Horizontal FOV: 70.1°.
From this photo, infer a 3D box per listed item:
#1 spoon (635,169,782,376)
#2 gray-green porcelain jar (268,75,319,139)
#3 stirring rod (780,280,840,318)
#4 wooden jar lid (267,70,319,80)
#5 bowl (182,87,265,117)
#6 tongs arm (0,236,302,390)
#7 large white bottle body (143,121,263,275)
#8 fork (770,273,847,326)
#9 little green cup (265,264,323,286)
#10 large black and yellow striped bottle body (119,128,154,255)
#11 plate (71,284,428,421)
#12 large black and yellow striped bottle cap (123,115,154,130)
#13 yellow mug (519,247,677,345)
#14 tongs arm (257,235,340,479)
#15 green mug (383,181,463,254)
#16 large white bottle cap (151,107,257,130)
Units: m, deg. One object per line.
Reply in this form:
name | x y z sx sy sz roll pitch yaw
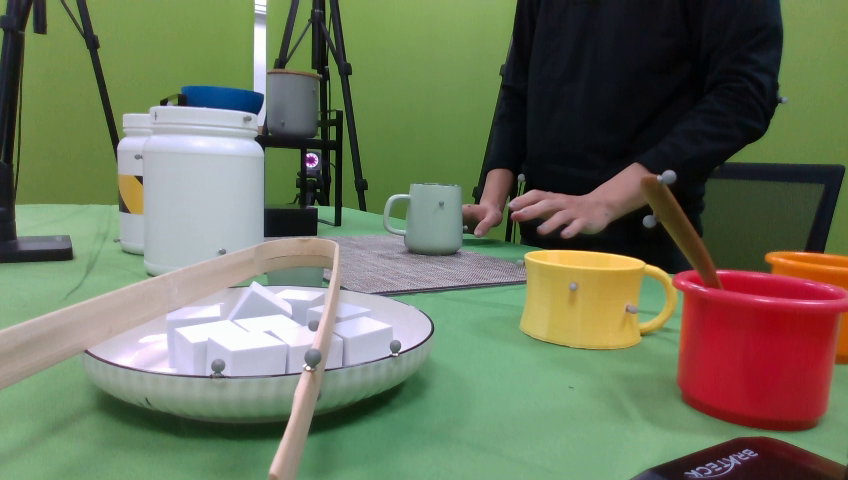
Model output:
spoon | 0.161 0.026 0.346 0.021 0.194 0.041 -51 32 -19
gray-green porcelain jar | -0.277 -0.279 1.280 0.106 0.126 0.106 2 8 0
stirring rod | 0.343 0.019 0.460 0.014 0.006 0.176 -11 -28 -28
wooden jar lid | -0.275 -0.339 1.271 0.108 0.020 0.108 5 6 0
bowl | -0.383 -0.244 1.158 0.151 0.077 0.151 2 7 0
tongs arm | -0.157 0.037 0.347 0.028 0.028 0.388 -2 8 11
large white bottle body | -0.254 -0.054 0.702 0.131 0.184 0.130 2 8 0
fork | 0.332 0.018 0.443 0.028 0.018 0.207 -3 -35 -18
little green cup | -0.134 0.033 0.627 0.061 0.038 0.061 3 7 0
large black and yellow striped bottle body | -0.355 -0.076 0.850 0.131 0.184 0.130 2 8 0
plate | -0.102 0.067 0.381 0.208 0.039 0.207 3 7 0
large black and yellow striped bottle cap | -0.353 -0.159 0.837 0.115 0.019 0.115 2 6 0
yellow mug | 0.148 0.045 0.513 0.131 0.064 0.100 3 7 0
tongs arm | -0.074 0.040 0.345 0.051 0.026 0.384 -1 9 -3
green mug | -0.001 -0.036 0.922 0.126 0.105 0.092 0 8 -16
large white bottle cap | -0.250 -0.138 0.692 0.115 0.018 0.115 3 7 0
